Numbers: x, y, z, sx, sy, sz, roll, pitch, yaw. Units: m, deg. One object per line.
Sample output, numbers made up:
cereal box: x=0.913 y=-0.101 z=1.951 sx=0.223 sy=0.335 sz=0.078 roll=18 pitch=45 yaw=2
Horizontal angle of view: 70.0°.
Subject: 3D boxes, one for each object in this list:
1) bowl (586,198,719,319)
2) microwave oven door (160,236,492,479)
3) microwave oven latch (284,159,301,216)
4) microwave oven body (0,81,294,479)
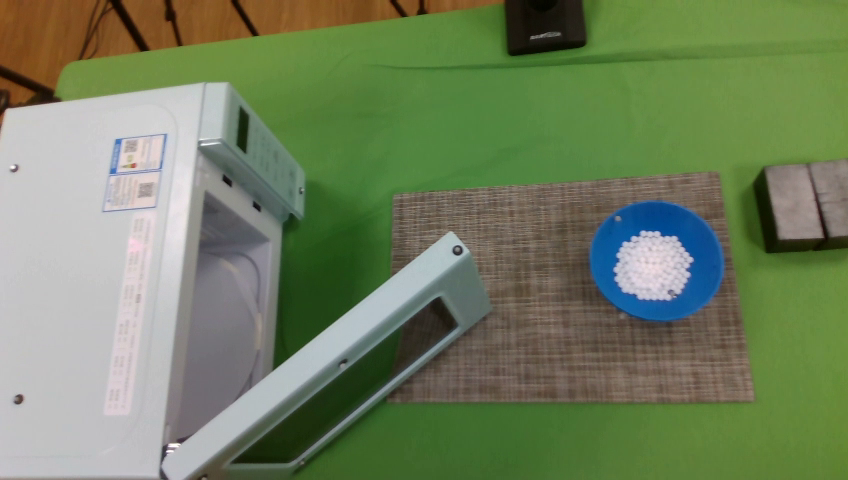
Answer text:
bowl: x=0.276 y=0.032 z=0.752 sx=0.151 sy=0.077 sz=0.150 roll=-4 pitch=71 yaw=10
microwave oven door: x=-0.082 y=0.149 z=0.680 sx=0.356 sy=0.246 sz=0.039 roll=-39 pitch=67 yaw=-4
microwave oven latch: x=-0.198 y=-0.077 z=0.891 sx=0.030 sy=0.030 sz=0.078 roll=-4 pitch=71 yaw=9
microwave oven body: x=-0.360 y=0.069 z=0.768 sx=0.325 sy=0.262 sz=0.438 roll=-4 pitch=71 yaw=9
